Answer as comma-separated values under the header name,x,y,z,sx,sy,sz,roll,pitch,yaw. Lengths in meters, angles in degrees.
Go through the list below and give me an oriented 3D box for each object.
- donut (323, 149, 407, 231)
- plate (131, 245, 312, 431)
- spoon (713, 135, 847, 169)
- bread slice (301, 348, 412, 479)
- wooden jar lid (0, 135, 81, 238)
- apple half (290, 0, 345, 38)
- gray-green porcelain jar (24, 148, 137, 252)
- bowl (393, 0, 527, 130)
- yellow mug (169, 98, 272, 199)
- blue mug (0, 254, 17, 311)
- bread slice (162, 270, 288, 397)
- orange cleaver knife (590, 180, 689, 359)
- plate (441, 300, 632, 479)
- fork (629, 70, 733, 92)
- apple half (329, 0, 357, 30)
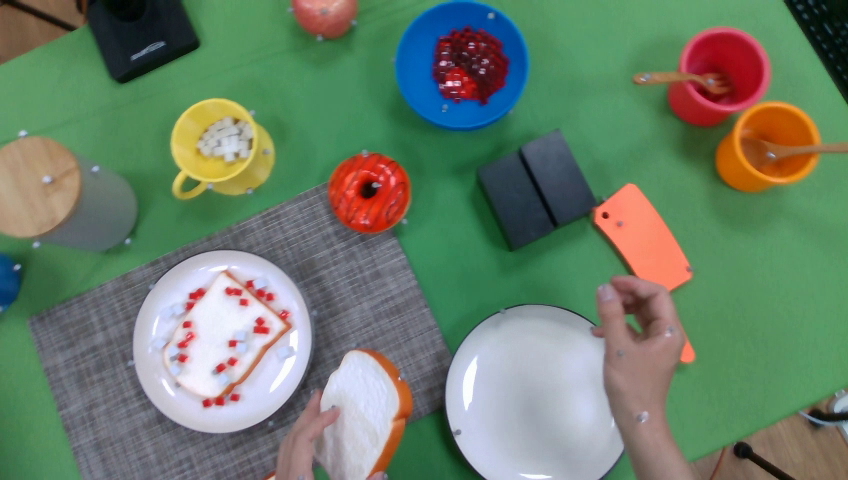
name,x,y,z,sx,sy,sz,roll,pitch,yaw
donut,-0.068,-0.059,0.712,0.099,0.048,0.098,0,82,2
plate,-0.229,0.111,0.699,0.207,0.039,0.207,0,82,3
spoon,0.410,-0.098,0.644,0.022,0.192,0.041,20,80,-39
bread slice,-0.064,0.173,0.581,0.106,0.018,0.134,40,110,33
wooden jar lid,-0.406,-0.054,0.628,0.108,0.021,0.108,-1,80,4
apple half,-0.133,-0.266,0.732,0.081,0.081,0.032,31,79,7
gray-green porcelain jar,-0.402,-0.044,0.689,0.106,0.127,0.105,0,81,3
bowl,0.042,-0.193,0.712,0.151,0.077,0.151,0,82,3
yellow mug,-0.250,-0.098,0.720,0.099,0.064,0.131,41,86,7
blue mug,-0.553,0.058,0.692,0.082,0.106,0.116,39,85,8
bread slice,-0.236,0.116,0.699,0.104,0.019,0.131,37,86,7
orange cleaver knife,0.264,0.031,0.699,0.077,0.012,0.210,-23,80,-7
plate,0.122,0.172,0.676,0.209,0.038,0.208,-1,82,4
fork,0.285,-0.177,0.663,0.208,0.018,0.028,-11,79,-41
apple half,-0.114,-0.299,0.738,0.080,0.075,0.053,31,79,11
